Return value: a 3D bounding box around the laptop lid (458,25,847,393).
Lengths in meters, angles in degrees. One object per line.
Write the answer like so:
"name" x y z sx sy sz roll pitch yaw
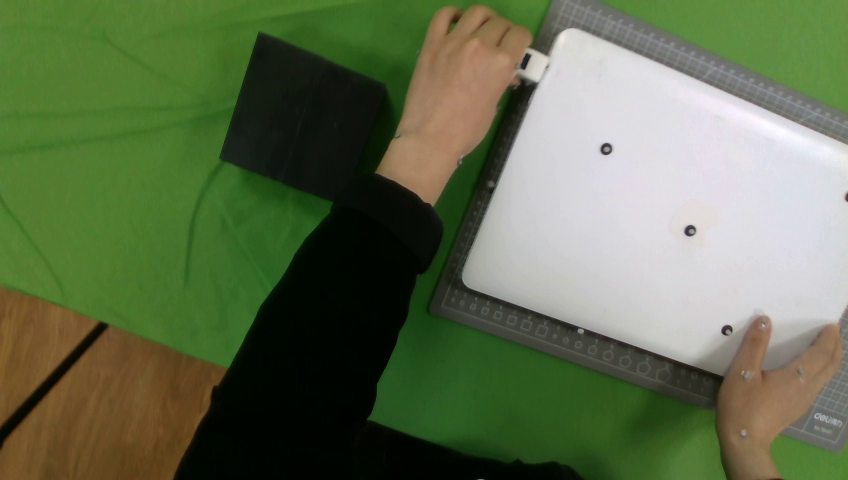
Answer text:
"laptop lid" 0.231 -0.013 0.538 0.358 0.013 0.242 21 102 -8

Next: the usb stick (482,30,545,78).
"usb stick" 0.079 -0.148 0.494 0.059 0.027 0.021 21 98 -15

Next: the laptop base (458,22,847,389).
"laptop base" 0.231 -0.018 0.548 0.355 0.023 0.236 19 104 -9
